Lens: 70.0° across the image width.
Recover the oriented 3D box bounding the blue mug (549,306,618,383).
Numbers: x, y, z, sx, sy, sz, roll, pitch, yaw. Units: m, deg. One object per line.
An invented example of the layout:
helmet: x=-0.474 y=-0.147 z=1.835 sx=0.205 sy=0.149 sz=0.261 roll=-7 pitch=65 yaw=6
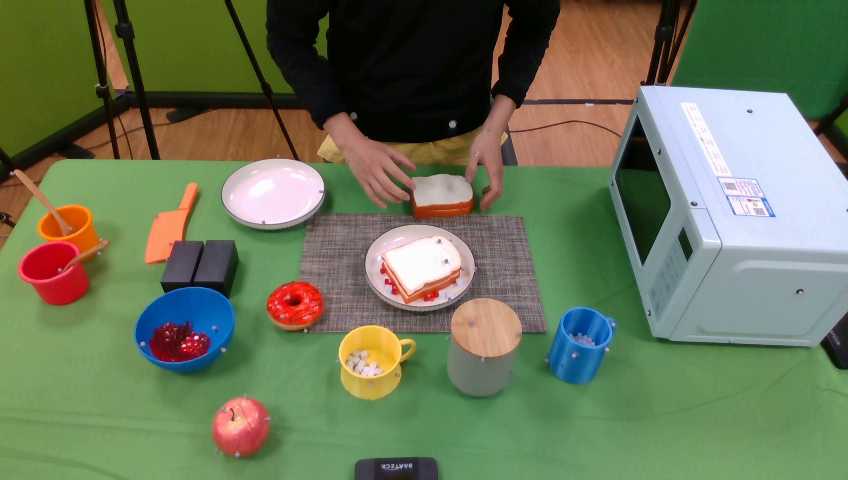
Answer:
blue mug: x=0.269 y=0.167 z=0.997 sx=0.116 sy=0.106 sz=0.082 roll=-19 pitch=50 yaw=-21

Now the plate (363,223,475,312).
plate: x=-0.009 y=0.054 z=1.126 sx=0.208 sy=0.039 sz=0.206 roll=2 pitch=46 yaw=-2

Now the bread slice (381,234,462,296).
bread slice: x=0.001 y=0.038 z=1.107 sx=0.134 sy=0.018 sz=0.106 roll=-24 pitch=56 yaw=-23

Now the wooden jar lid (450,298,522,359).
wooden jar lid: x=0.093 y=0.135 z=0.914 sx=0.108 sy=0.021 sz=0.107 roll=3 pitch=48 yaw=-3

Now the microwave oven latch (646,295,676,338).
microwave oven latch: x=0.413 y=0.133 z=1.060 sx=0.030 sy=0.029 sz=0.078 roll=4 pitch=46 yaw=1

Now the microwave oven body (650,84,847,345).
microwave oven body: x=0.569 y=-0.054 z=1.116 sx=0.326 sy=0.261 sz=0.439 roll=2 pitch=46 yaw=-1

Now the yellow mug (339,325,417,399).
yellow mug: x=-0.072 y=0.191 z=0.978 sx=0.131 sy=0.064 sz=0.099 roll=-17 pitch=49 yaw=-20

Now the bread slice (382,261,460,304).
bread slice: x=0.000 y=0.055 z=1.129 sx=0.131 sy=0.019 sz=0.104 roll=-22 pitch=51 yaw=-21

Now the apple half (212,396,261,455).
apple half: x=-0.276 y=0.276 z=0.877 sx=0.053 sy=0.075 sz=0.080 roll=-29 pitch=58 yaw=-21

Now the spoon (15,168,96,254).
spoon: x=-0.675 y=-0.053 z=1.109 sx=0.021 sy=0.194 sz=0.041 roll=-15 pitch=23 yaw=51

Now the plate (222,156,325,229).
plate: x=-0.308 y=-0.095 z=1.251 sx=0.209 sy=0.038 sz=0.208 roll=3 pitch=46 yaw=-3

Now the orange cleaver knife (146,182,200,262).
orange cleaver knife: x=-0.494 y=-0.039 z=1.198 sx=0.077 sy=0.012 sz=0.210 roll=-4 pitch=48 yaw=2

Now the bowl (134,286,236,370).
bowl: x=-0.377 y=0.156 z=0.981 sx=0.151 sy=0.077 sz=0.150 roll=2 pitch=46 yaw=-2

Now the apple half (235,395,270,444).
apple half: x=-0.245 y=0.260 z=0.893 sx=0.033 sy=0.082 sz=0.081 roll=-29 pitch=55 yaw=-22

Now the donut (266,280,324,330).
donut: x=-0.223 y=0.112 z=1.051 sx=0.099 sy=0.048 sz=0.098 roll=2 pitch=46 yaw=-2

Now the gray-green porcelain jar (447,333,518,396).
gray-green porcelain jar: x=0.091 y=0.178 z=0.960 sx=0.106 sy=0.127 sz=0.105 roll=2 pitch=46 yaw=-2

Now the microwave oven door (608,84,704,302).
microwave oven door: x=0.424 y=-0.096 z=1.138 sx=0.039 sy=0.245 sz=0.353 roll=3 pitch=46 yaw=-1

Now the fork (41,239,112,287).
fork: x=-0.591 y=0.040 z=1.028 sx=0.207 sy=0.019 sz=0.028 roll=-27 pitch=36 yaw=29
